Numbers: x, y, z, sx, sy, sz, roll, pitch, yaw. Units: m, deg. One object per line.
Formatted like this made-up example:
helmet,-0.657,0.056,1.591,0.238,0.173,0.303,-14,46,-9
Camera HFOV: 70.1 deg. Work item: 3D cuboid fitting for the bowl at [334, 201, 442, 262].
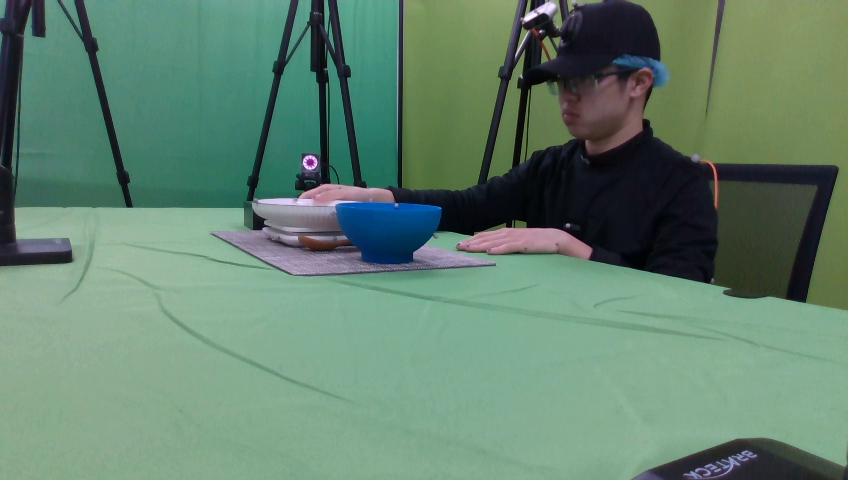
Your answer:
bowl,-0.051,-0.012,0.848,0.151,0.077,0.151,2,7,0

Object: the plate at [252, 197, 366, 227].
plate,-0.179,-0.047,1.012,0.209,0.038,0.209,2,6,0

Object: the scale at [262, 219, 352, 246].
scale,-0.160,-0.015,1.027,0.202,0.031,0.148,-2,8,-32

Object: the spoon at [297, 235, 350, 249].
spoon,-0.102,0.002,0.942,0.195,0.021,0.041,-1,-6,-31
